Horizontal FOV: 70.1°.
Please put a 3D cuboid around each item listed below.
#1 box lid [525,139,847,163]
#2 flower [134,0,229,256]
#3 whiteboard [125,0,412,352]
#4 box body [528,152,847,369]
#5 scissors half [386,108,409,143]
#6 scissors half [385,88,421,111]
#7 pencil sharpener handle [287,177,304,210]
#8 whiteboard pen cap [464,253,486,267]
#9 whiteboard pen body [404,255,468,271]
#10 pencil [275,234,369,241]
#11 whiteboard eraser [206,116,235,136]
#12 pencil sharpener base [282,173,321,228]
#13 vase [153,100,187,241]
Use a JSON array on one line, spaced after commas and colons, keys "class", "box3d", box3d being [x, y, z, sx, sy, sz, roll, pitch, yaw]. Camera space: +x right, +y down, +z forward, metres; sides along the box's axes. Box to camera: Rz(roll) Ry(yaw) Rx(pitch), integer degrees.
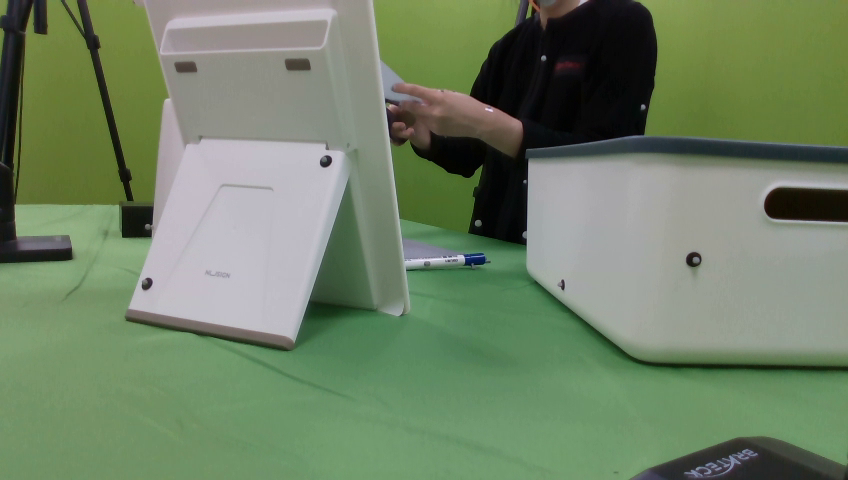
[{"class": "box lid", "box3d": [0.261, -0.078, 0.580, 0.264, 0.015, 0.371, 2, 7, -4]}, {"class": "flower", "box3d": [-0.282, -0.147, 0.713, 0.038, 0.362, 0.044, -23, 23, -31]}, {"class": "whiteboard", "box3d": [-0.151, -0.049, 0.472, 0.216, 0.305, 0.144, 6, 27, 24]}, {"class": "box body", "box3d": [0.258, -0.005, 0.591, 0.254, 0.160, 0.363, 2, 7, -4]}, {"class": "scissors half", "box3d": [-0.075, -0.228, 1.053, 0.012, 0.040, 0.176, 20, -20, 39]}, {"class": "scissors half", "box3d": [-0.066, -0.250, 1.054, 0.013, 0.040, 0.176, 15, 14, 39]}, {"class": "pencil sharpener handle", "box3d": [-0.269, -0.096, 1.257, 0.036, 0.067, 0.030, -8, 8, -27]}, {"class": "whiteboard pen cap", "box3d": [0.066, 0.027, 0.818, 0.033, 0.018, 0.018, -6, 10, -24]}, {"class": "whiteboard pen body", "box3d": [0.012, 0.030, 0.792, 0.141, 0.017, 0.017, -3, 9, -24]}, {"class": "pencil", "box3d": [-0.169, -0.006, 1.036, 0.195, 0.012, 0.012, -2, 9, -45]}, {"class": "whiteboard eraser", "box3d": [-0.450, -0.252, 1.335, 0.056, 0.042, 0.112, 1, 7, -22]}, {"class": "pencil sharpener base", "box3d": [-0.247, -0.080, 1.212, 0.061, 0.107, 0.076, -2, 5, -28]}, {"class": "vase", "box3d": [-0.278, -0.066, 0.736, 0.098, 0.200, 0.098, 2, 9, 0]}]
